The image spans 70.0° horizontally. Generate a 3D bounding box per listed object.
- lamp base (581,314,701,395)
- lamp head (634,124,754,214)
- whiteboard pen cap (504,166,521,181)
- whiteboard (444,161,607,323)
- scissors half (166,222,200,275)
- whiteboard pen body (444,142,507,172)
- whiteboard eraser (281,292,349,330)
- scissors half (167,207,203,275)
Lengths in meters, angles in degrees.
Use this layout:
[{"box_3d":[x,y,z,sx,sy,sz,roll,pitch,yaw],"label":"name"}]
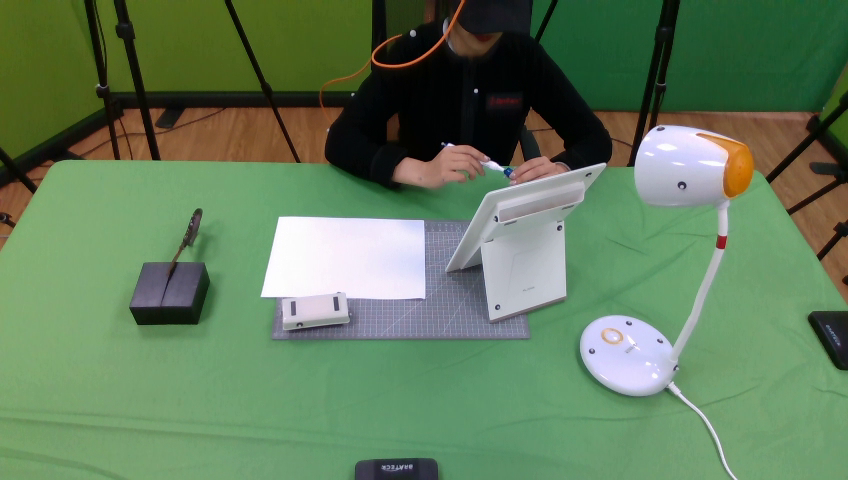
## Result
[{"box_3d":[0.361,0.144,0.973,0.178,0.181,0.160,34,53,23],"label":"lamp base"},{"box_3d":[0.351,-0.089,0.776,0.112,0.113,0.122,-30,30,-28],"label":"lamp head"},{"box_3d":[0.174,-0.131,1.199,0.033,0.018,0.018,34,46,-13],"label":"whiteboard pen cap"},{"box_3d":[0.186,0.025,1.029,0.217,0.306,0.143,-14,68,-18],"label":"whiteboard"},{"box_3d":[-0.444,0.015,1.116,0.013,0.040,0.174,16,27,-10],"label":"scissors half"},{"box_3d":[0.104,-0.165,1.215,0.140,0.017,0.017,25,49,13],"label":"whiteboard pen body"},{"box_3d":[-0.189,0.124,1.045,0.113,0.042,0.055,-6,46,-10],"label":"whiteboard eraser"},{"box_3d":[-0.436,0.000,1.104,0.013,0.040,0.174,21,44,-14],"label":"scissors half"}]
